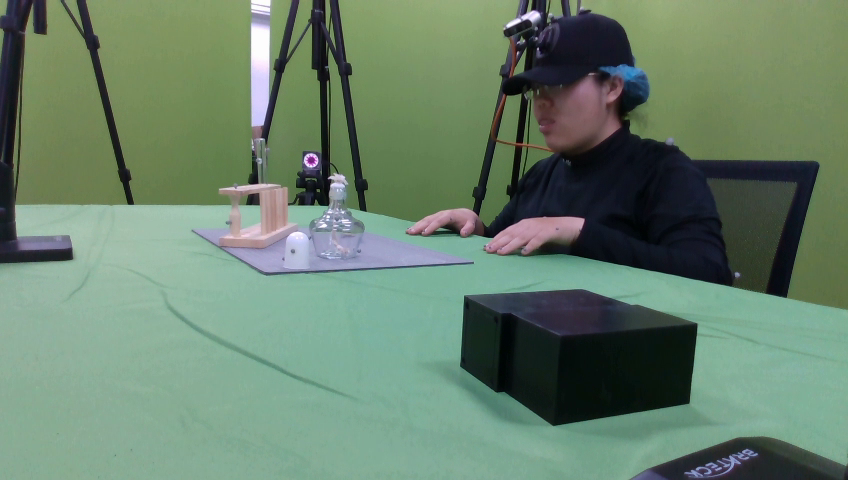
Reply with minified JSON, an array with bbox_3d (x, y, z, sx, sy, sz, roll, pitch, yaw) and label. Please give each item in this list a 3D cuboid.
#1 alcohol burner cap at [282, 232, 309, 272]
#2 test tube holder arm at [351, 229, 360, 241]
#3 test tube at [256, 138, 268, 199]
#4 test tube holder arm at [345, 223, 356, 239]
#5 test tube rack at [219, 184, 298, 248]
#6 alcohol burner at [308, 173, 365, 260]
[{"bbox_3d":[-0.157,0.014,0.740,0.034,0.048,0.034,2,6,0],"label":"alcohol burner cap"},{"bbox_3d":[-0.120,-0.010,1.040,0.010,0.015,0.087,36,0,-11],"label":"test tube holder arm"},{"bbox_3d":[-0.284,-0.105,1.066,0.017,0.150,0.017,-1,9,0],"label":"test tube"},{"bbox_3d":[-0.132,-0.018,1.083,0.013,0.015,0.178,35,0,-12],"label":"test tube holder arm"},{"bbox_3d":[-0.266,-0.046,1.002,0.067,0.085,0.242,3,7,0],"label":"test tube rack"},{"bbox_3d":[-0.121,-0.033,0.841,0.078,0.119,0.078,3,5,0],"label":"alcohol burner"}]
